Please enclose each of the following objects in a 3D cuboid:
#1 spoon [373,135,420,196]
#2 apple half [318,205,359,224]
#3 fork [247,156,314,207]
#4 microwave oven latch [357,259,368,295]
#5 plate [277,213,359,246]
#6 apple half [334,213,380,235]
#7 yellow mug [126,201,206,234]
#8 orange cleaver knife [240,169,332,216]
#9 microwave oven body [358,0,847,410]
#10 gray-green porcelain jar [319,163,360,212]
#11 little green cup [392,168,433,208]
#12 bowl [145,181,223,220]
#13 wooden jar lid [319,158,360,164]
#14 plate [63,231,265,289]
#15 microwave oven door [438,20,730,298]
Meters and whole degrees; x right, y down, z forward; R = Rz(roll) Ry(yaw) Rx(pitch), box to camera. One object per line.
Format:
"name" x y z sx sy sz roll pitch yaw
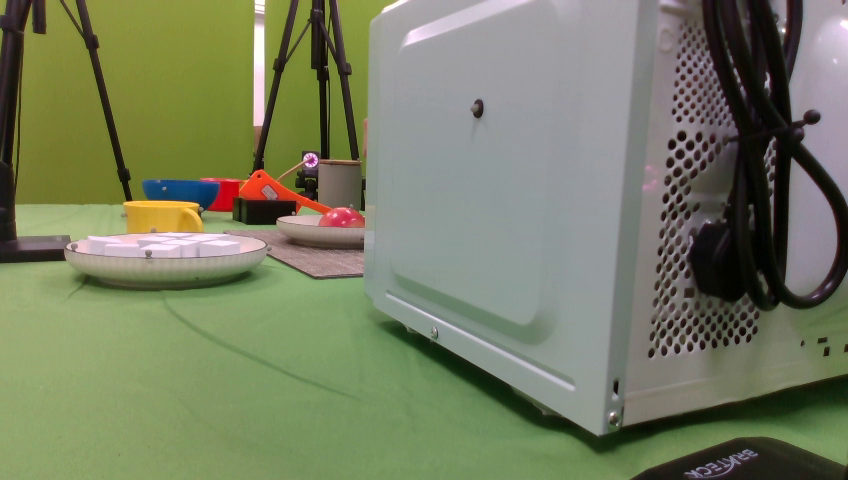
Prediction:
"spoon" -0.051 -0.129 1.021 0.042 0.021 0.193 20 30 -38
"apple half" -0.126 -0.028 0.954 0.081 0.053 0.074 -2 11 -33
"fork" -0.360 -0.147 1.523 0.207 0.018 0.028 -43 16 -7
"microwave oven latch" -0.019 0.031 0.529 0.079 0.029 0.030 -1 7 -26
"plate" -0.135 -0.018 0.993 0.209 0.038 0.209 2 7 0
"apple half" -0.112 -0.029 1.034 0.081 0.033 0.081 0 9 0
"yellow mug" -0.360 -0.019 0.866 0.130 0.064 0.100 6 9 27
"orange cleaver knife" -0.286 -0.082 1.298 0.212 0.077 0.012 25 -2 -31
"microwave oven body" 0.210 -0.051 0.471 0.444 0.260 0.324 -1 7 -28
"gray-green porcelain jar" -0.204 -0.126 1.489 0.106 0.126 0.106 2 7 0
"little green cup" -0.016 -0.081 0.962 0.061 0.038 0.061 -38 -11 -8
"bowl" -0.499 -0.081 1.261 0.151 0.077 0.151 2 7 0
"wooden jar lid" -0.203 -0.189 1.482 0.108 0.020 0.108 2 10 0
"plate" -0.288 0.021 0.687 0.208 0.039 0.207 2 8 0
"microwave oven door" 0.181 -0.076 0.618 0.358 0.243 0.039 -2 8 -28
